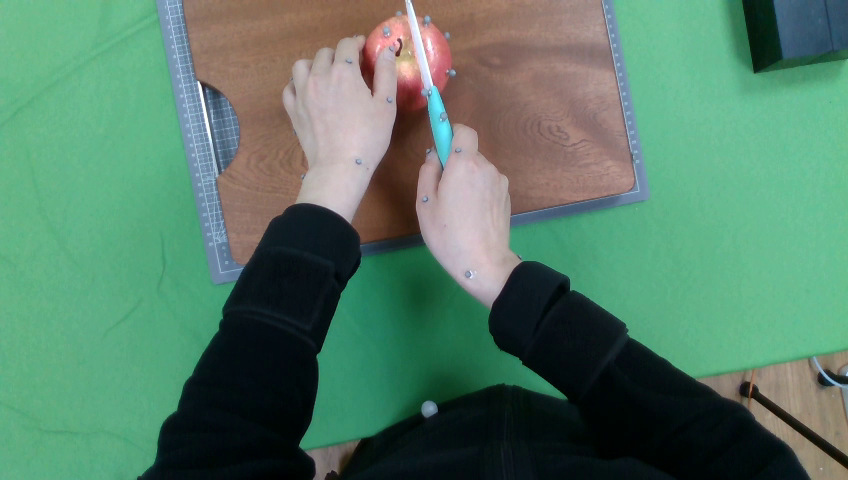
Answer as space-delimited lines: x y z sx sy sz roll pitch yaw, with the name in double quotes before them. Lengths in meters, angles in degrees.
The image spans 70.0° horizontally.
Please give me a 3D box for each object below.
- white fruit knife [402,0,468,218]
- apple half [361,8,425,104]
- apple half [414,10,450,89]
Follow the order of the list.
"white fruit knife" 0.005 -0.120 0.500 0.016 0.027 0.207 -13 86 -18
"apple half" -0.029 -0.161 0.550 0.053 0.074 0.081 -15 93 3
"apple half" 0.007 -0.170 0.550 0.033 0.081 0.081 -13 90 2
